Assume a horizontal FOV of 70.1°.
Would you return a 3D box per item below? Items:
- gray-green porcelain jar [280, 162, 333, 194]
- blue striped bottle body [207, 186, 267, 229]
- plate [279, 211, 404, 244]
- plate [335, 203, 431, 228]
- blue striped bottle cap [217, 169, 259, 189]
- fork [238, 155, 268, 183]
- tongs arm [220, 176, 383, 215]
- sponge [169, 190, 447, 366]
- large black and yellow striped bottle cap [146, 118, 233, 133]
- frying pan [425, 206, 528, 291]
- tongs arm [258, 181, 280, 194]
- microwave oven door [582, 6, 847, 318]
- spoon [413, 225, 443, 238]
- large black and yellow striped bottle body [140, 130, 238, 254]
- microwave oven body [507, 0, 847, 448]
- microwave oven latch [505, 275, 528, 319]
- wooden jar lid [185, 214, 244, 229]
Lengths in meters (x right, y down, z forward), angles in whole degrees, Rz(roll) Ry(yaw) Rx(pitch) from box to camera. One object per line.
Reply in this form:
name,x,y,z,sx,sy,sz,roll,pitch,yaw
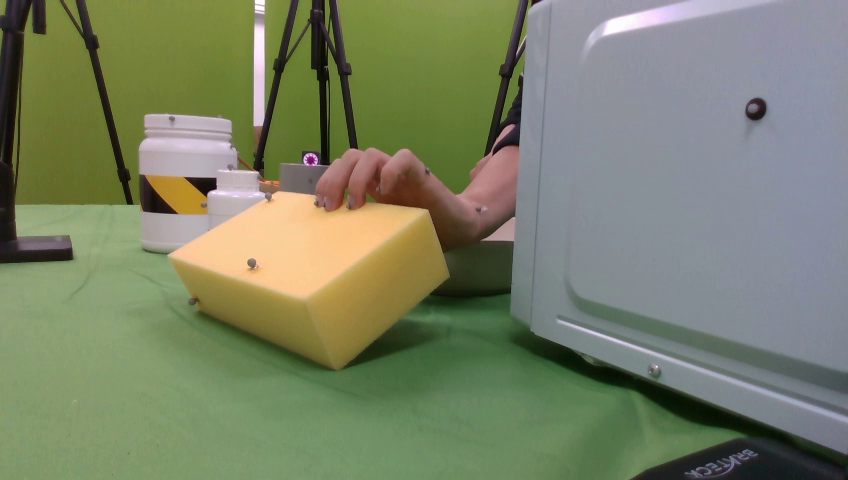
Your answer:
gray-green porcelain jar,-0.238,-0.092,1.221,0.106,0.126,0.106,2,7,0
blue striped bottle body,-0.204,-0.016,0.663,0.063,0.120,0.063,2,7,0
plate,-0.139,-0.022,1.021,0.209,0.038,0.209,2,8,0
plate,-0.089,-0.053,1.309,0.208,0.039,0.207,2,8,0
blue striped bottle cap,-0.202,-0.067,0.656,0.044,0.020,0.044,0,10,0
fork,-0.396,-0.143,1.486,0.028,0.018,0.208,20,-26,45
tongs arm,-0.285,-0.103,1.445,0.389,0.027,0.028,9,-4,-23
sponge,-0.099,0.017,0.484,0.206,0.061,0.118,8,38,45
large black and yellow striped bottle cap,-0.333,-0.163,0.861,0.115,0.019,0.115,1,9,0
frying pan,0.110,-0.017,0.800,0.490,0.102,0.305,-12,16,-31
tongs arm,-0.241,-0.095,1.373,0.387,0.026,0.050,9,-1,-37
microwave oven door,0.295,-0.067,0.569,0.358,0.243,0.039,-3,8,-31
spoon,0.016,-0.020,1.113,0.041,0.021,0.194,-13,3,12
large black and yellow striped bottle body,-0.336,-0.078,0.871,0.131,0.184,0.130,2,8,0
microwave oven body,0.331,-0.042,0.425,0.444,0.260,0.324,-2,8,-31
microwave oven latch,0.100,0.042,0.471,0.079,0.029,0.030,-2,8,-29
wooden jar lid,-0.404,-0.037,1.169,0.108,0.020,0.108,3,7,0
